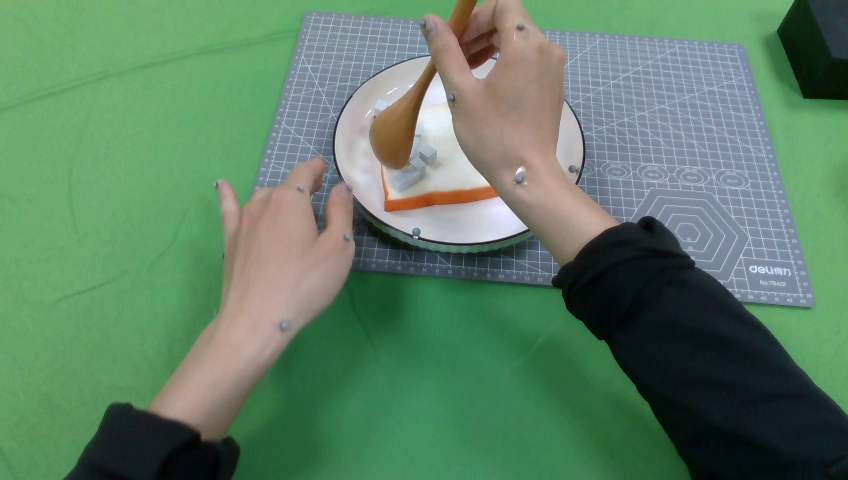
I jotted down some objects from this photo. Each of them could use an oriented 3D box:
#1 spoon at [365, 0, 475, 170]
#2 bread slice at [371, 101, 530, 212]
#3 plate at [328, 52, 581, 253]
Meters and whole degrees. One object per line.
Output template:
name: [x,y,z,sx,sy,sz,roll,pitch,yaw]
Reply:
spoon: [0.002,-0.119,0.412,0.041,0.194,0.021,46,40,13]
bread slice: [0.023,-0.078,0.514,0.132,0.019,0.104,-8,59,-6]
plate: [0.025,-0.074,0.509,0.209,0.038,0.207,1,58,-1]
